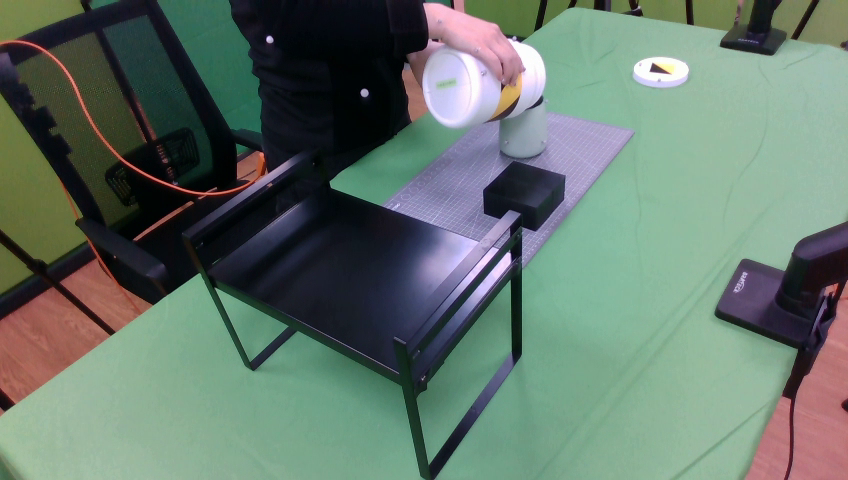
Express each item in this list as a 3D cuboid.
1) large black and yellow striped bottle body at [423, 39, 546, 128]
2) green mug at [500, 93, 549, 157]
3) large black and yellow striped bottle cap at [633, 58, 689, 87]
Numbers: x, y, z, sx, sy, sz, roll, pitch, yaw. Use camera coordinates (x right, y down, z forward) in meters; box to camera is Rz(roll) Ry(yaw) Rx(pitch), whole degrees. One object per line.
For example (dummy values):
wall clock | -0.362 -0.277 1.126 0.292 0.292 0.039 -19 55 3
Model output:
large black and yellow striped bottle body | 0.105 -0.264 1.006 0.185 0.131 0.129 -19 39 -38
green mug | 0.196 -0.229 1.145 0.092 0.105 0.125 15 46 25
large black and yellow striped bottle cap | 0.522 -0.370 1.332 0.115 0.019 0.114 -3 41 4
